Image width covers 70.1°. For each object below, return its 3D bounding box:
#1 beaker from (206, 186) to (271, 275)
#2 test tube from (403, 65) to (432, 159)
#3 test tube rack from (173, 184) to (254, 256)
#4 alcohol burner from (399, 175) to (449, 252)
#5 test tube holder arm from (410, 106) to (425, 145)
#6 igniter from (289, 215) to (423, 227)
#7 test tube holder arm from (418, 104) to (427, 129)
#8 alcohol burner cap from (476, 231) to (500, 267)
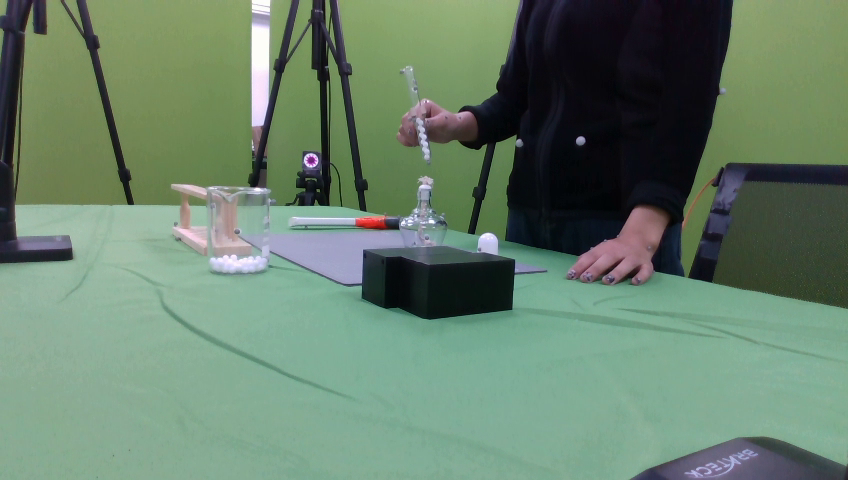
[{"bbox_3d":[-0.220,-0.012,0.717,0.074,0.100,0.084,2,8,-3],"label":"beaker"},{"bbox_3d":[-0.009,-0.198,0.933,0.017,0.150,0.017,-12,-6,-1],"label":"test tube"},{"bbox_3d":[-0.328,-0.036,0.927,0.067,0.085,0.241,-2,9,-32],"label":"test tube rack"},{"bbox_3d":[0.000,-0.041,0.937,0.078,0.119,0.078,0,8,0],"label":"alcohol burner"},{"bbox_3d":[-0.009,-0.188,1.000,0.013,0.015,0.178,-9,-6,2],"label":"test tube holder arm"},{"bbox_3d":[-0.133,-0.038,1.232,0.278,0.025,0.057,-1,-2,-25],"label":"igniter"},{"bbox_3d":[-0.004,-0.193,0.955,0.010,0.015,0.088,-9,-6,-6],"label":"test tube holder arm"},{"bbox_3d":[0.088,0.012,0.830,0.034,0.048,0.034,2,6,0],"label":"alcohol burner cap"}]
